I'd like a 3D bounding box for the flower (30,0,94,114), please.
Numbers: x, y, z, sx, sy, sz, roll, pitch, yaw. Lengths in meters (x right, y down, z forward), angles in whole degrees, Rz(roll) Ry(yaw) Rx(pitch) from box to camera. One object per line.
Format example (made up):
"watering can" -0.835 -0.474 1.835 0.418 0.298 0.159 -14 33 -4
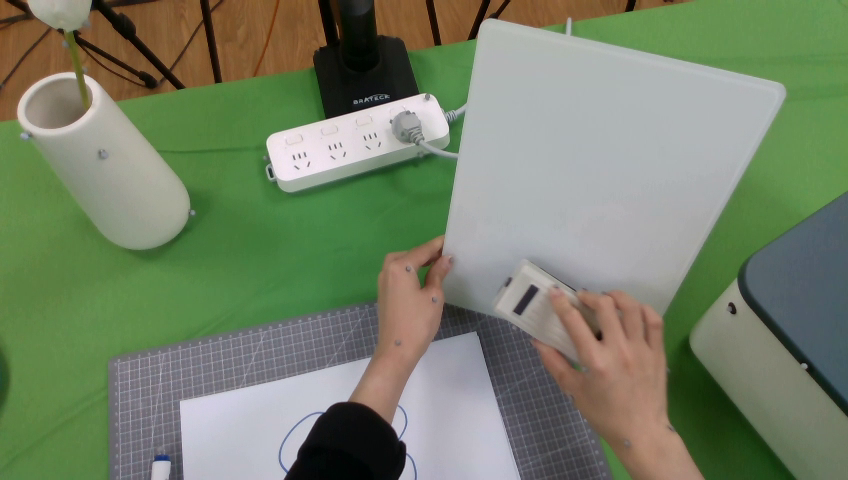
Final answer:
"flower" -0.287 -0.105 0.523 0.038 0.362 0.044 36 58 -2

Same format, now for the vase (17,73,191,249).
"vase" -0.308 -0.070 0.597 0.098 0.201 0.097 0 62 1

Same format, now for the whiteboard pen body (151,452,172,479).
"whiteboard pen body" -0.233 0.257 0.525 0.017 0.017 0.139 -5 65 -2

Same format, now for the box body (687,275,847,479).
"box body" 0.447 0.136 0.517 0.254 0.161 0.361 -29 67 -14

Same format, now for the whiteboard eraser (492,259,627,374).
"whiteboard eraser" 0.122 0.068 0.549 0.113 0.042 0.055 34 98 -1

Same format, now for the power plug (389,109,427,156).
"power plug" -0.020 -0.116 0.690 0.035 0.053 0.072 -7 69 -4

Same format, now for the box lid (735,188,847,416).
"box lid" 0.445 0.100 0.451 0.263 0.015 0.368 -29 67 -14

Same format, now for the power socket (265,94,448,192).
"power socket" -0.077 -0.116 0.715 0.227 0.033 0.071 -17 65 -9

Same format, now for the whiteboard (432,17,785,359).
"whiteboard" 0.147 -0.062 0.571 0.217 0.308 0.143 16 43 9
